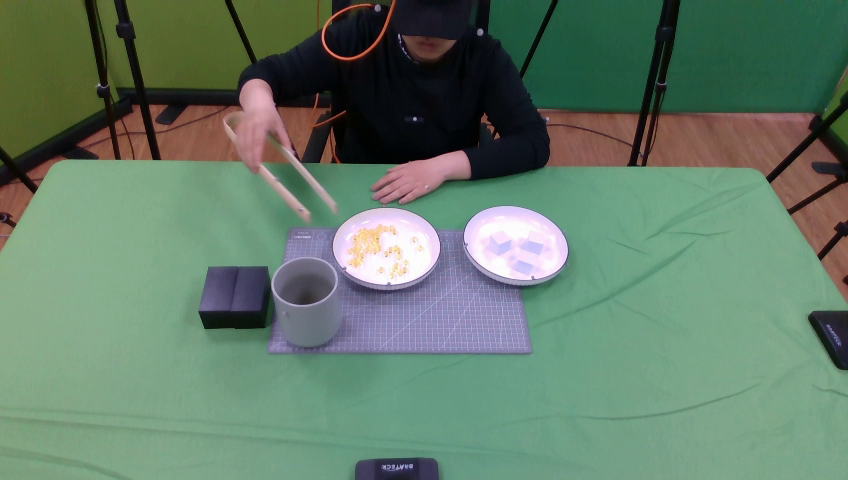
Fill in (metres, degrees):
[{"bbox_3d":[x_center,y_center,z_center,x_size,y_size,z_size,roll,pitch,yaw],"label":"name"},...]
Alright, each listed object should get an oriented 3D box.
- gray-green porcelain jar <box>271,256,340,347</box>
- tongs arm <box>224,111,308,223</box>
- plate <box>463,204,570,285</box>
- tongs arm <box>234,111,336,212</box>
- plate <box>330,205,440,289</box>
[{"bbox_3d":[-0.193,0.107,1.004,0.106,0.127,0.105,2,46,-2],"label":"gray-green porcelain jar"},{"bbox_3d":[-0.299,-0.148,1.152,0.051,0.026,0.382,-28,49,-27],"label":"tongs arm"},{"bbox_3d":[0.178,0.012,1.184,0.209,0.038,0.208,3,46,-3],"label":"plate"},{"bbox_3d":[-0.272,-0.160,1.167,0.028,0.028,0.385,-29,50,-23],"label":"tongs arm"},{"bbox_3d":[-0.074,0.017,1.160,0.208,0.039,0.206,2,46,-2],"label":"plate"}]
